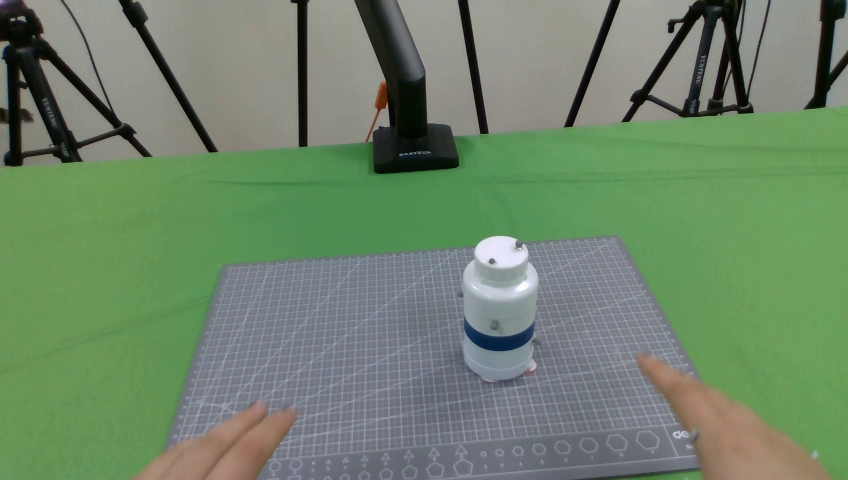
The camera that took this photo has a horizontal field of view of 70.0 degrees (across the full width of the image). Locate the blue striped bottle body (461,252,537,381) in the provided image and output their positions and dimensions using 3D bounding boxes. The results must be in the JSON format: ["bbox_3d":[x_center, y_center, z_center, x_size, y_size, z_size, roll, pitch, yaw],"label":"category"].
[{"bbox_3d":[0.063,0.058,0.517,0.063,0.122,0.062,-2,37,2],"label":"blue striped bottle body"}]

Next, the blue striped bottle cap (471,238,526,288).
[{"bbox_3d":[0.060,0.018,0.487,0.044,0.021,0.044,-1,36,1],"label":"blue striped bottle cap"}]
